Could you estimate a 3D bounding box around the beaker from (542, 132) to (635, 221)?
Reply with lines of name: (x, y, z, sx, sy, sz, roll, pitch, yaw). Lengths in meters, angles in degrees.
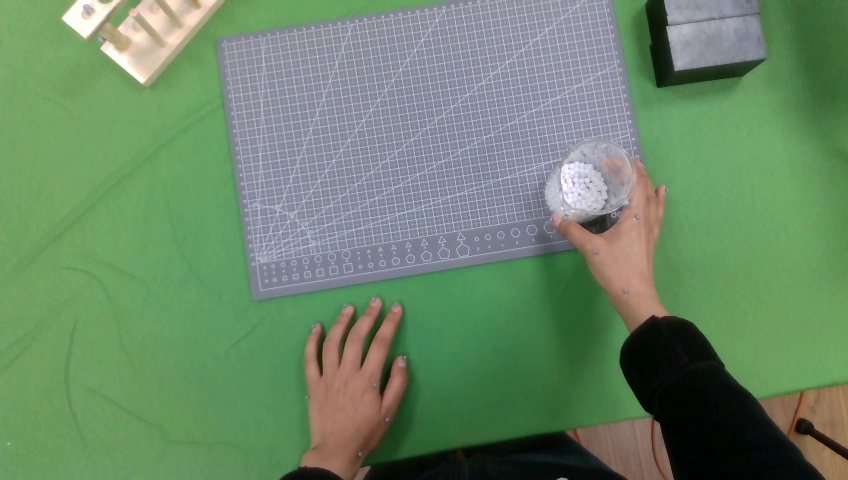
beaker: (0.162, -0.057, 0.623, 0.074, 0.100, 0.084, 43, 87, 4)

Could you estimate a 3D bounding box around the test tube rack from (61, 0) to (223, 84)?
test tube rack: (-0.260, -0.293, 0.650, 0.066, 0.085, 0.242, 40, 87, 4)
